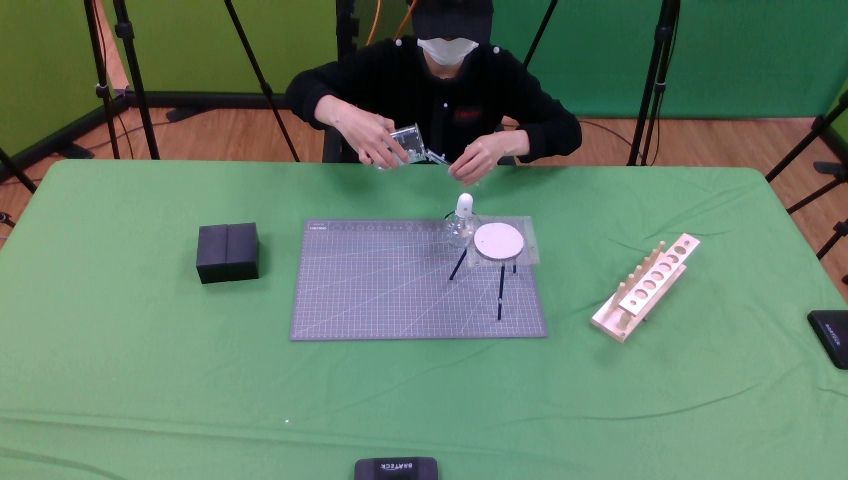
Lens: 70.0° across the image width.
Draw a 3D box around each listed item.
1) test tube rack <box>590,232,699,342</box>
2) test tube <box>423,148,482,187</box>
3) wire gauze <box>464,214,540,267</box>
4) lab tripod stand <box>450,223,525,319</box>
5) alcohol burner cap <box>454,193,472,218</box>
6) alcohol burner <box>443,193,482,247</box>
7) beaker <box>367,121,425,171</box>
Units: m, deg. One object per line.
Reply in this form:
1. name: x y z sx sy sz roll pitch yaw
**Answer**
1. test tube rack: 0.407 0.074 1.112 0.066 0.085 0.242 35 53 26
2. test tube: 0.060 -0.143 1.219 0.151 0.017 0.017 27 38 -30
3. wire gauze: 0.131 -0.002 1.034 0.121 0.011 0.124 1 45 -2
4. lab tripod stand: 0.120 0.046 1.080 0.148 0.132 0.147 1 47 -1
5. alcohol burner cap: 0.076 -0.068 1.151 0.034 0.048 0.033 4 47 -4
6. alcohol burner: 0.075 -0.044 1.177 0.078 0.120 0.077 1 44 -1
7. beaker: -0.053 -0.175 1.163 0.100 0.084 0.073 -15 47 6
